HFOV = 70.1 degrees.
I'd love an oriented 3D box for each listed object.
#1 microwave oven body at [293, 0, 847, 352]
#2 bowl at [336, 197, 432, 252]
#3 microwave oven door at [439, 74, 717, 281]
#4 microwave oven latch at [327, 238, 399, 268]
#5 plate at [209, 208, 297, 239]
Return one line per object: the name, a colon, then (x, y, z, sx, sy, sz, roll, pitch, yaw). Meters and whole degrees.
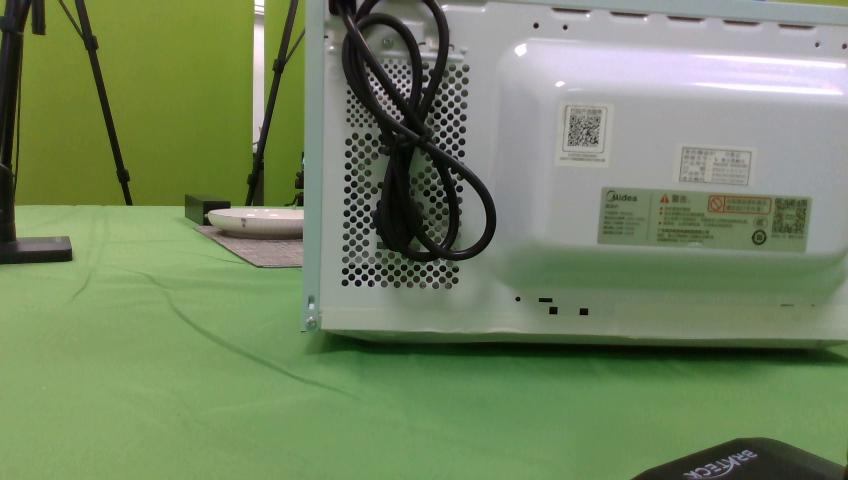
microwave oven body: (0.122, -0.055, 0.550, 0.442, 0.260, 0.325, 3, 7, -5)
bowl: (-0.064, -0.024, 0.952, 0.151, 0.077, 0.151, 3, 8, 0)
microwave oven door: (0.183, -0.089, 0.801, 0.354, 0.243, 0.039, 7, 9, 32)
microwave oven latch: (-0.069, 0.015, 0.694, 0.079, 0.029, 0.030, 3, 7, -3)
plate: (-0.271, -0.029, 1.074, 0.208, 0.039, 0.207, 3, 7, 0)
